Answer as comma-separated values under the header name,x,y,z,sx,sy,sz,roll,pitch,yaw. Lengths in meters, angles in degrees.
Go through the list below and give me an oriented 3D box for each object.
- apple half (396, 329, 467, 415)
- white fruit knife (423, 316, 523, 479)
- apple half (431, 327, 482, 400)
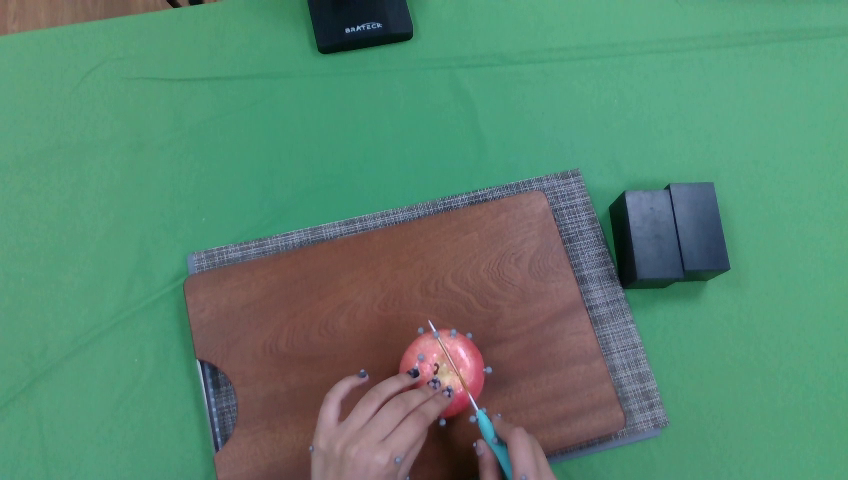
name,x,y,z,sx,sy,sz,roll,pitch,yaw
apple half,0.001,0.132,0.578,0.053,0.075,0.080,-29,81,-7
white fruit knife,0.048,0.161,0.556,0.016,0.027,0.207,-28,84,-12
apple half,0.036,0.114,0.585,0.033,0.081,0.081,-29,77,-9
